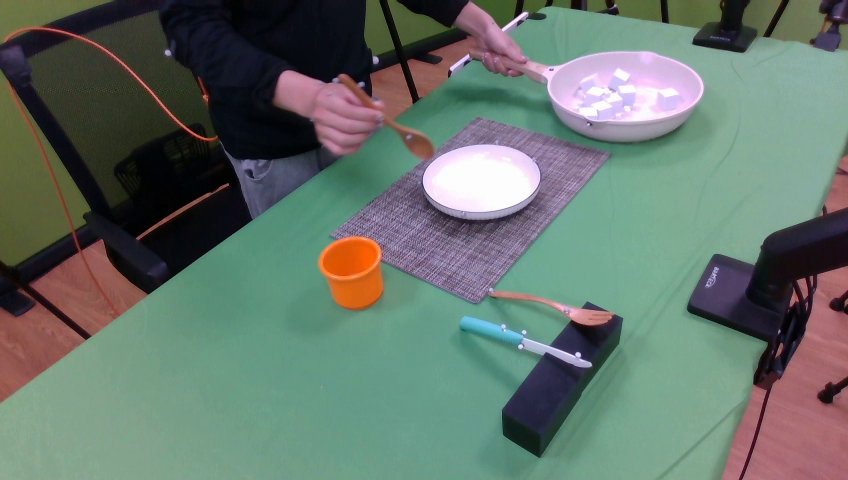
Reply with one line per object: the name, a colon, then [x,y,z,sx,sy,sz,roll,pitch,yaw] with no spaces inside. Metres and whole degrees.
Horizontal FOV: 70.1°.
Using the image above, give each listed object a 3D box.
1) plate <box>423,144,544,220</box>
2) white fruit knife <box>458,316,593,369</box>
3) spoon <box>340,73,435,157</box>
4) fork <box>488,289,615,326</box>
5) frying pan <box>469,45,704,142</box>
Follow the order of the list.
plate: [0.102,-0.097,1.048,0.207,0.039,0.206,-4,40,4]
white fruit knife: [0.120,0.127,0.757,0.205,0.027,0.016,12,44,43]
spoon: [-0.046,-0.164,0.812,0.041,0.195,0.021,-10,64,33]
fork: [0.160,0.086,0.800,0.205,0.019,0.028,12,48,48]
frying pan: [0.307,-0.326,1.239,0.485,0.103,0.307,26,49,22]
